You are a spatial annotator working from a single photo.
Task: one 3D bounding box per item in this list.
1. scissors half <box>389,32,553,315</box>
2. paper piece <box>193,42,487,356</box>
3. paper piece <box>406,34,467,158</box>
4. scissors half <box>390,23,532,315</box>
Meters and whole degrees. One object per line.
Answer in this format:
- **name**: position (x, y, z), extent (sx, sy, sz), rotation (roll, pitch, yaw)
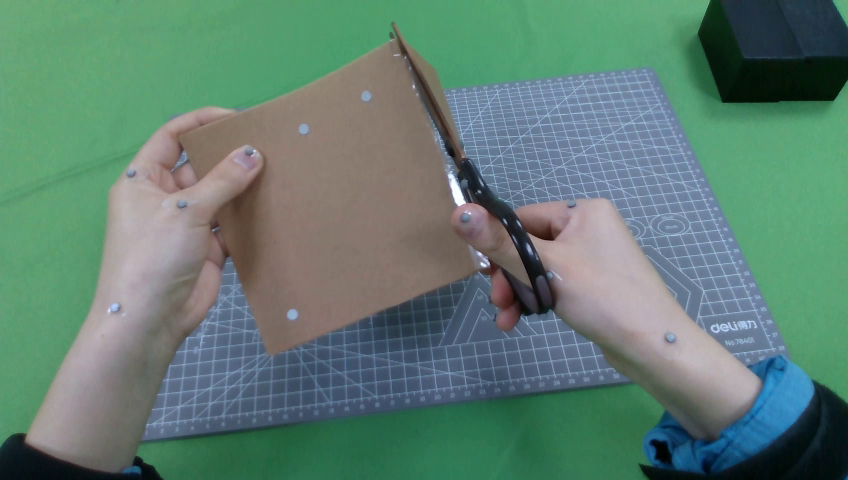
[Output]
- **scissors half**: position (0.020, -0.041, 0.311), extent (0.013, 0.040, 0.174), rotation (-26, 71, -6)
- **paper piece**: position (-0.052, -0.022, 0.335), extent (0.138, 0.009, 0.135), rotation (-23, 79, 13)
- **paper piece**: position (0.024, -0.060, 0.399), extent (0.004, 0.135, 0.135), rotation (-22, 94, 9)
- **scissors half**: position (0.020, -0.038, 0.333), extent (0.013, 0.040, 0.175), rotation (-26, 96, -1)
